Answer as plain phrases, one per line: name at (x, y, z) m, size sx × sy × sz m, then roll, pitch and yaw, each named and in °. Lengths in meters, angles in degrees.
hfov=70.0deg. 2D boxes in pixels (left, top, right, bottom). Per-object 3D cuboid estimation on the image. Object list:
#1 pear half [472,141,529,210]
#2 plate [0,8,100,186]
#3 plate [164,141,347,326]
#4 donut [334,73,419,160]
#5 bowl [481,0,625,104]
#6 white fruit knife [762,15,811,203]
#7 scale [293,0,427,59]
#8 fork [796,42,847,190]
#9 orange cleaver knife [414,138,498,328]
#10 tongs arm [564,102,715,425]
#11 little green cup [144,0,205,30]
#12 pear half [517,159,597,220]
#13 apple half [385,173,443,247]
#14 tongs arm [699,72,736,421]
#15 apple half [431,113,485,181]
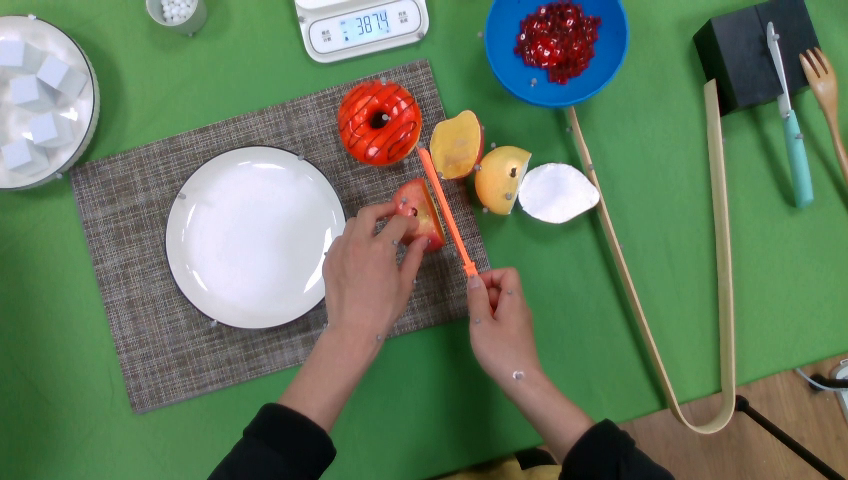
pear half at (0.080, -0.075, 0.650) m, size 0.056 × 0.110 × 0.076 m, roll 15°, pitch 83°, yaw 4°
plate at (-0.480, -0.165, 0.716) m, size 0.207 × 0.039 × 0.207 m, roll 0°, pitch 88°, yaw 3°
plate at (-0.188, -0.008, 0.692) m, size 0.209 × 0.038 × 0.209 m, roll 0°, pitch 88°, yaw 3°
donut at (-0.054, -0.140, 0.687) m, size 0.099 × 0.048 × 0.099 m, roll 0°, pitch 90°, yaw 5°
bowl at (0.136, -0.217, 0.667) m, size 0.151 × 0.077 × 0.151 m, roll 0°, pitch 89°, yaw 3°
white fruit knife at (0.388, -0.137, 0.651) m, size 0.016 × 0.027 × 0.208 m, roll -19°, pitch 102°, yaw 2°
scale at (-0.086, -0.323, 0.704) m, size 0.148 × 0.031 × 0.200 m, roll -12°, pitch 88°, yaw 3°
fork at (0.447, -0.115, 0.655) m, size 0.028 × 0.018 × 0.208 m, roll -26°, pitch 103°, yaw 0°
orange cleaver knife at (0.031, -0.009, 0.634) m, size 0.012 × 0.077 × 0.211 m, roll -22°, pitch 95°, yaw 0°
tongs arm at (0.239, 0.023, 0.676) m, size 0.051 × 0.026 × 0.384 m, roll -17°, pitch 88°, yaw -3°
little green cup at (-0.289, -0.278, 0.710) m, size 0.061 × 0.038 × 0.061 m, roll 0°, pitch 88°, yaw 3°
pear half at (0.151, -0.054, 0.684) m, size 0.087 × 0.031 × 0.070 m, roll 11°, pitch 87°, yaw 18°
apple half at (-0.014, -0.029, 0.667) m, size 0.053 × 0.074 × 0.081 m, roll -19°, pitch 93°, yaw 9°
tongs arm at (0.324, 0.006, 0.678) m, size 0.028 × 0.028 × 0.387 m, roll -2°, pitch 88°, yaw -6°
apple half at (0.046, -0.107, 0.690) m, size 0.033 × 0.081 × 0.081 m, roll -25°, pitch 85°, yaw -40°
